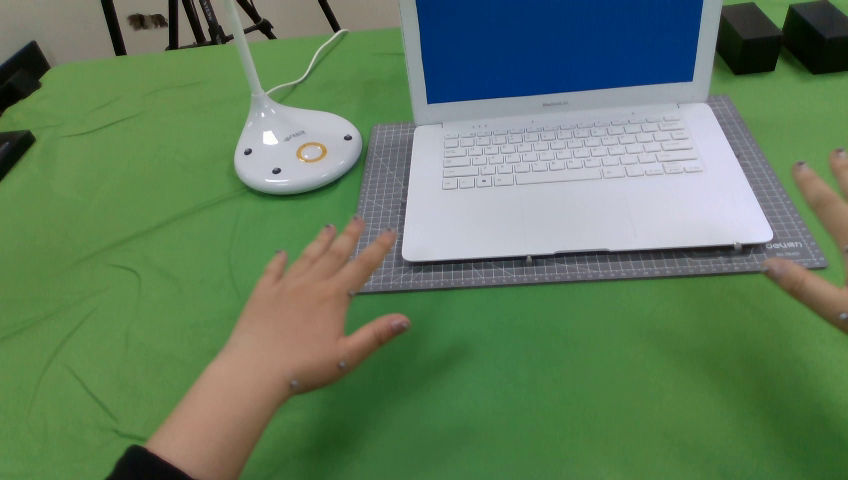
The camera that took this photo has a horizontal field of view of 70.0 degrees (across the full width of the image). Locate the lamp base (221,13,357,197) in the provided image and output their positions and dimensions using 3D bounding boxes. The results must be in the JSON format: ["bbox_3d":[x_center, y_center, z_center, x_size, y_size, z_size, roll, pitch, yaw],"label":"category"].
[{"bbox_3d":[-0.182,-0.168,0.714,0.177,0.182,0.160,26,53,35],"label":"lamp base"}]

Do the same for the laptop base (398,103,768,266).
[{"bbox_3d":[0.152,-0.064,0.663,0.354,0.023,0.233,-4,47,6],"label":"laptop base"}]

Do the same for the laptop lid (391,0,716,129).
[{"bbox_3d":[0.143,-0.242,0.678,0.356,0.244,0.013,-5,36,7],"label":"laptop lid"}]
